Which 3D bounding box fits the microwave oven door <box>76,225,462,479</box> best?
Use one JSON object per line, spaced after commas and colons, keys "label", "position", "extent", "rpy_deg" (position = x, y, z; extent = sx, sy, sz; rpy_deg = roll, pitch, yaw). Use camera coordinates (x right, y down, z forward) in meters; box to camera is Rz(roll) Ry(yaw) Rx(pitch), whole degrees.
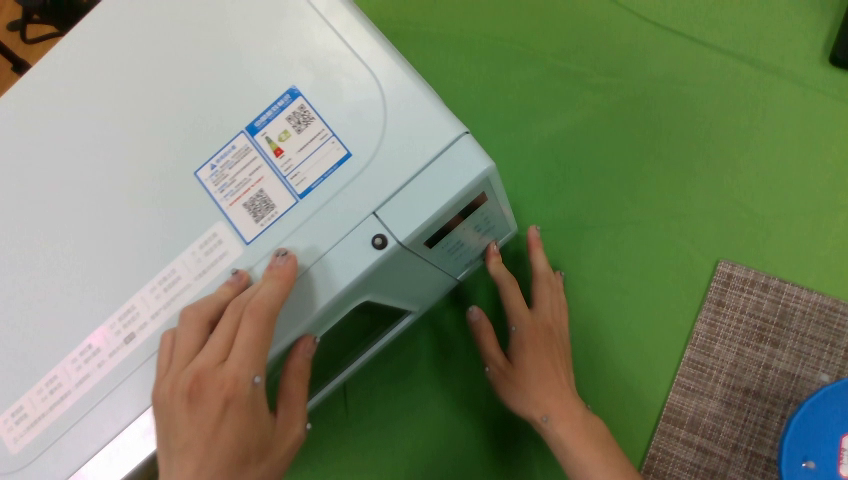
{"label": "microwave oven door", "position": [-0.131, 0.127, 0.505], "extent": [0.356, 0.245, 0.039], "rpy_deg": [-41, 74, 3]}

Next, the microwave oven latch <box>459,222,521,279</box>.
{"label": "microwave oven latch", "position": [0.058, 0.003, 0.589], "extent": [0.079, 0.029, 0.030], "rpy_deg": [-39, 75, 4]}

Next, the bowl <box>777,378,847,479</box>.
{"label": "bowl", "position": [0.358, 0.182, 0.488], "extent": [0.151, 0.077, 0.151], "rpy_deg": [-2, 80, 12]}

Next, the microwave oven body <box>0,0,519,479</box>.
{"label": "microwave oven body", "position": [-0.189, -0.008, 0.544], "extent": [0.442, 0.261, 0.324], "rpy_deg": [-41, 75, 4]}
